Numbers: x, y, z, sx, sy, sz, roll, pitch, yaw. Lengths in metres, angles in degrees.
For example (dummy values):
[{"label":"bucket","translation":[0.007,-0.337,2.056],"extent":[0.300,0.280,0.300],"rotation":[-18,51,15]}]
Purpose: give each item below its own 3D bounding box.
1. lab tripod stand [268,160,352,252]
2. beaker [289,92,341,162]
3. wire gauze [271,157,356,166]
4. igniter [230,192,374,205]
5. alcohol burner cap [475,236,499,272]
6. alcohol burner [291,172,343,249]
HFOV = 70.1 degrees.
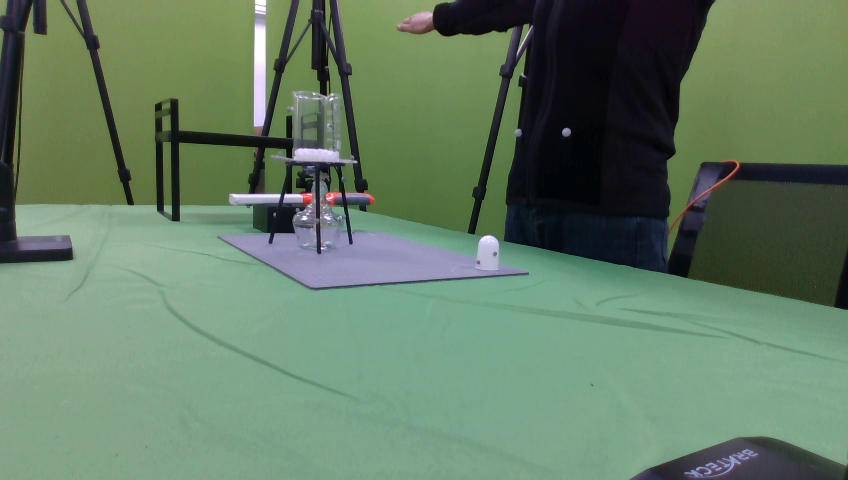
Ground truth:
[{"label":"lab tripod stand","translation":[-0.171,-0.055,0.921],"extent":[0.148,0.131,0.148],"rotation":[1,8,0]},{"label":"beaker","translation":[-0.160,-0.167,0.902],"extent":[0.074,0.100,0.083],"rotation":[-3,9,-30]},{"label":"wire gauze","translation":[-0.167,-0.120,0.917],"extent":[0.125,0.011,0.121],"rotation":[-2,6,-8]},{"label":"igniter","translation":[-0.228,-0.079,1.164],"extent":[0.278,0.025,0.057],"rotation":[-2,15,-30]},{"label":"alcohol burner cap","translation":[0.084,0.018,0.799],"extent":[0.034,0.048,0.034],"rotation":[2,7,0]},{"label":"alcohol burner","translation":[-0.162,-0.045,0.922],"extent":[0.078,0.119,0.078],"rotation":[5,7,0]}]
